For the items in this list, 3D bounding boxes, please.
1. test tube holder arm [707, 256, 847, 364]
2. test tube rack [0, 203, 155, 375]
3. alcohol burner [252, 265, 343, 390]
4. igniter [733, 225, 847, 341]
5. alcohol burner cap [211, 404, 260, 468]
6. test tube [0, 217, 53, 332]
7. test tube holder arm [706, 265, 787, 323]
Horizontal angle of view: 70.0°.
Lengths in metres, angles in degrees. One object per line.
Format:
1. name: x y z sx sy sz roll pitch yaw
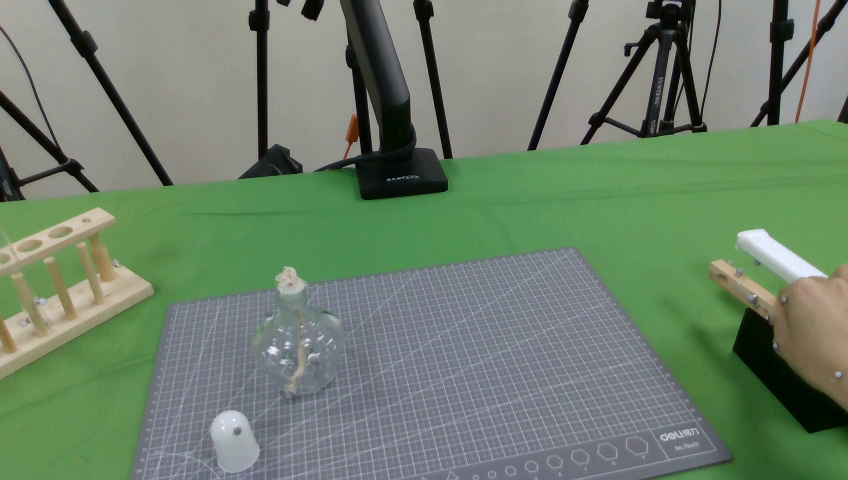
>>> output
1. test tube holder arm: 0.301 0.060 0.499 0.015 0.013 0.176 -17 31 -12
2. test tube rack: -0.387 0.061 0.561 0.066 0.086 0.242 23 41 31
3. alcohol burner: -0.108 0.069 0.511 0.078 0.120 0.077 1 35 0
4. igniter: 0.359 0.060 0.507 0.057 0.025 0.273 -9 31 -9
5. alcohol burner cap: -0.145 0.146 0.461 0.034 0.048 0.033 0 34 0
6. test tube: -0.364 0.023 0.536 0.017 0.151 0.017 -1 35 1
7. test tube holder arm: 0.288 0.045 0.540 0.015 0.010 0.087 -17 32 -12
